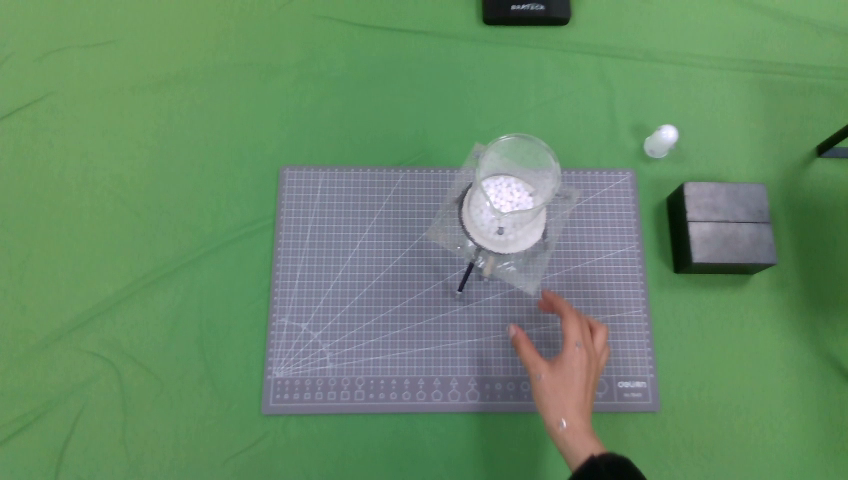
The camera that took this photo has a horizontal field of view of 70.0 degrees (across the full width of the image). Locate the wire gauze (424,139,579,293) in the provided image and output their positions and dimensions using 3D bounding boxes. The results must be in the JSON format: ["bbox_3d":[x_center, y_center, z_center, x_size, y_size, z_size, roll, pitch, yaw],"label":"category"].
[{"bbox_3d":[0.079,-0.028,0.610,0.125,0.011,0.121,28,76,3],"label":"wire gauze"}]

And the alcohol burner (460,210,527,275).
[{"bbox_3d":[0.081,-0.002,0.681,0.078,0.119,0.077,1,75,-3],"label":"alcohol burner"}]

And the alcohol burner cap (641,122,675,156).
[{"bbox_3d":[0.299,-0.130,0.769,0.034,0.048,0.033,0,73,-1],"label":"alcohol burner cap"}]

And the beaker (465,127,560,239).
[{"bbox_3d":[0.077,-0.045,0.564,0.074,0.101,0.083,24,74,5],"label":"beaker"}]

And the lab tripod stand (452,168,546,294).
[{"bbox_3d":[0.078,-0.015,0.675,0.148,0.132,0.147,1,72,-3],"label":"lab tripod stand"}]
